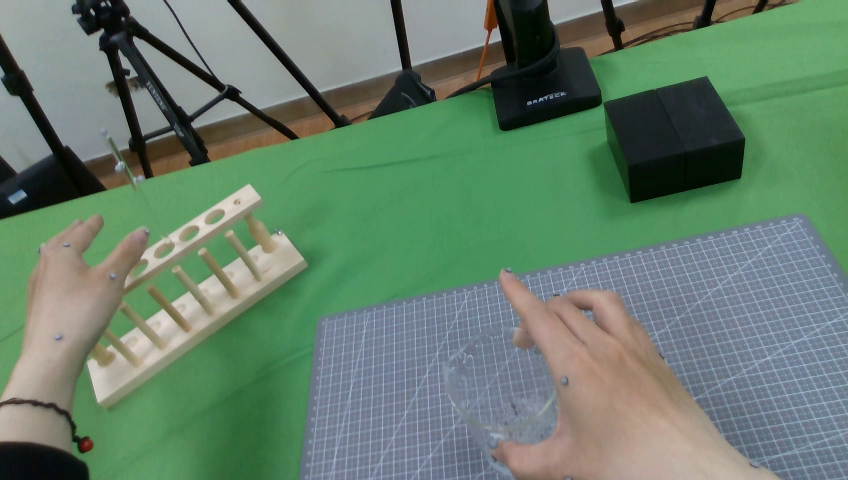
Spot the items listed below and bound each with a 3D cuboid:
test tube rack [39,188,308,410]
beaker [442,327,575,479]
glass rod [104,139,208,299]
[{"bbox_3d":[-0.249,0.057,0.621,0.242,0.086,0.066,-36,46,-12],"label":"test tube rack"},{"bbox_3d":[0.062,0.118,0.422,0.083,0.101,0.073,5,52,27],"label":"beaker"},{"bbox_3d":[-0.258,-0.011,0.593,0.008,0.202,0.008,-10,38,8],"label":"glass rod"}]
